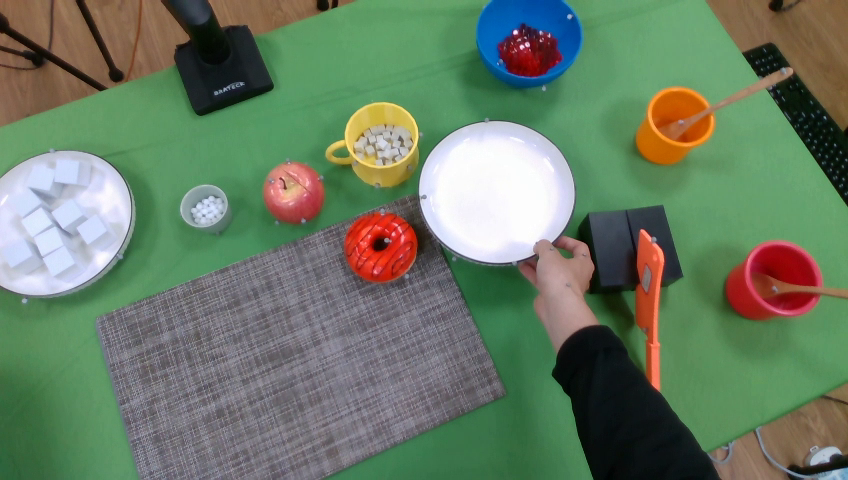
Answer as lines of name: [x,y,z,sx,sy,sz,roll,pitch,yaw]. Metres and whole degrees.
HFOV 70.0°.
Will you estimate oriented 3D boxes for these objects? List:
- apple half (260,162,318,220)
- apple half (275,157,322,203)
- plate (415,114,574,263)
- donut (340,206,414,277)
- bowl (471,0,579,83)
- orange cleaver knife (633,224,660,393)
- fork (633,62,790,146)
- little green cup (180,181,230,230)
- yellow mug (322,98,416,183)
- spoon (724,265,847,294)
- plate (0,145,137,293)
apple half: [-0.186,-0.057,0.808,0.080,0.075,0.053,39,80,7]
apple half: [-0.161,-0.086,0.816,0.081,0.081,0.033,38,80,11]
plate: [0.092,-0.066,0.801,0.209,0.038,0.207,-1,70,2]
donut: [-0.062,0.002,0.802,0.099,0.048,0.098,0,74,1]
bowl: [0.141,-0.285,0.882,0.151,0.077,0.150,0,73,0]
orange cleaver knife: [0.278,0.087,0.763,0.012,0.077,0.212,-4,105,0]
fork: [0.382,-0.182,0.816,0.207,0.019,0.028,-28,67,36]
little green cup: [-0.294,-0.044,0.820,0.061,0.039,0.061,0,72,0]
yellow mug: [-0.077,-0.134,0.837,0.131,0.064,0.099,-12,72,-5]
spoon: [0.473,0.056,0.746,0.192,0.022,0.041,5,60,48]
plate: [-0.487,-0.027,0.811,0.208,0.039,0.206,0,72,-1]
